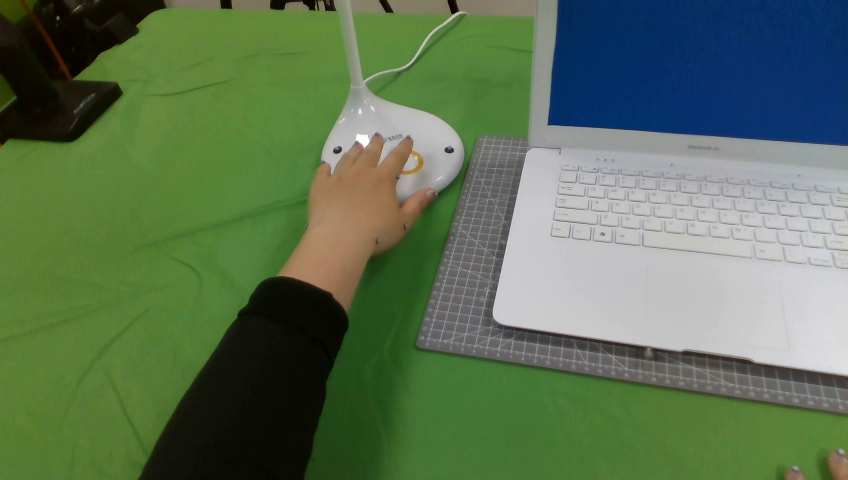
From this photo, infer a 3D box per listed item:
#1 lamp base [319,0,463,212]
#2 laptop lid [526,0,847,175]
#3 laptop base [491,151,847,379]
[{"bbox_3d":[-0.052,-0.148,0.625,0.160,0.182,0.177,-31,47,-22],"label":"lamp base"},{"bbox_3d":[0.273,-0.166,0.547,0.355,0.244,0.013,5,39,14],"label":"laptop lid"},{"bbox_3d":[0.252,0.012,0.544,0.353,0.023,0.233,6,50,13],"label":"laptop base"}]
